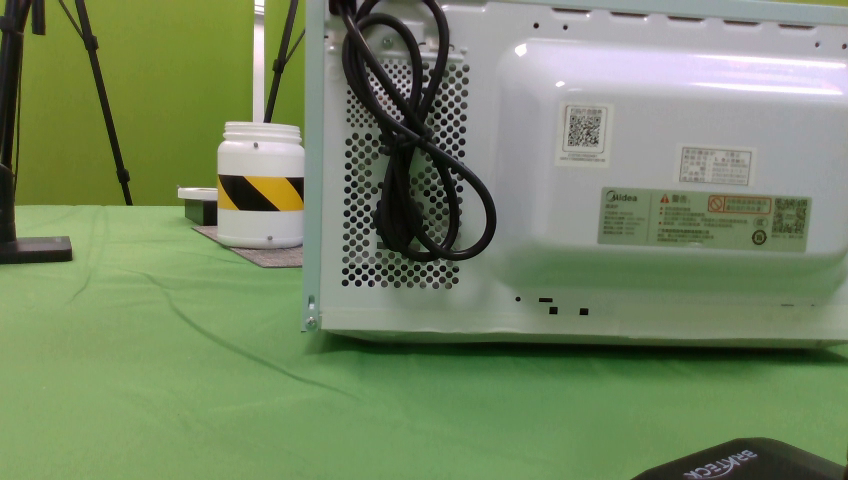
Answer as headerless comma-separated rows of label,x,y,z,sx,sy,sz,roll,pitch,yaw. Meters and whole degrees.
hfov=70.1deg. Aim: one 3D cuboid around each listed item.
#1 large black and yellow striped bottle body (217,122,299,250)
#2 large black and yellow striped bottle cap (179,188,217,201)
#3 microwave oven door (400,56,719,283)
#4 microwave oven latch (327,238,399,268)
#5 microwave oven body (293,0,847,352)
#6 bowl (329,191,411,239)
large black and yellow striped bottle body,-0.250,-0.084,0.931,0.131,0.184,0.130,2,7,0
large black and yellow striped bottle cap,-0.434,-0.093,1.226,0.115,0.019,0.115,3,9,0
microwave oven door,0.155,-0.077,0.698,0.356,0.243,0.039,2,8,-5
microwave oven latch,-0.069,0.015,0.694,0.079,0.029,0.030,3,7,-3
microwave oven body,0.122,-0.055,0.550,0.442,0.260,0.325,3,7,-5
bowl,-0.100,-0.045,1.104,0.151,0.077,0.151,3,8,0
